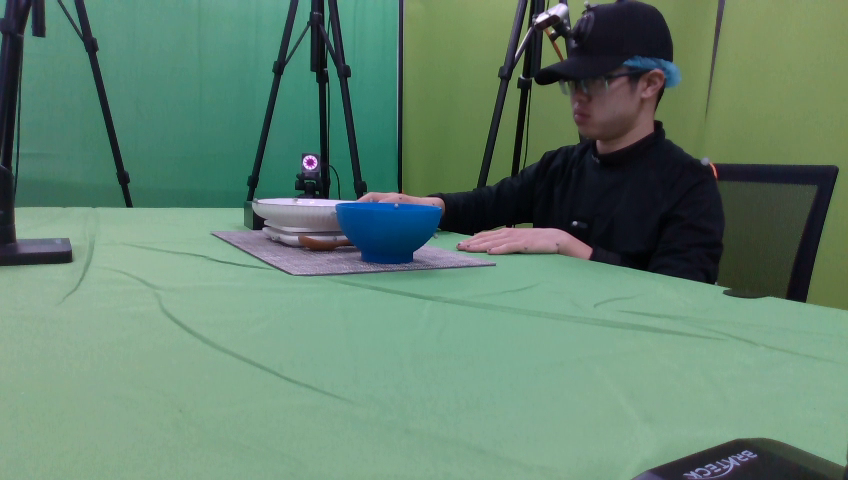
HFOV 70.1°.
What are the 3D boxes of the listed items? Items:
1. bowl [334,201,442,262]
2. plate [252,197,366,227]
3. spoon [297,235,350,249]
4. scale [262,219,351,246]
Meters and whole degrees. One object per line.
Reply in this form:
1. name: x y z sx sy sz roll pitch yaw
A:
1. bowl: -0.051 -0.012 0.848 0.151 0.077 0.151 2 7 0
2. plate: -0.179 -0.047 1.012 0.209 0.038 0.209 2 6 0
3. spoon: -0.102 0.002 0.942 0.195 0.021 0.041 -1 -5 -31
4. scale: -0.160 -0.015 1.028 0.202 0.031 0.148 -2 8 -32
